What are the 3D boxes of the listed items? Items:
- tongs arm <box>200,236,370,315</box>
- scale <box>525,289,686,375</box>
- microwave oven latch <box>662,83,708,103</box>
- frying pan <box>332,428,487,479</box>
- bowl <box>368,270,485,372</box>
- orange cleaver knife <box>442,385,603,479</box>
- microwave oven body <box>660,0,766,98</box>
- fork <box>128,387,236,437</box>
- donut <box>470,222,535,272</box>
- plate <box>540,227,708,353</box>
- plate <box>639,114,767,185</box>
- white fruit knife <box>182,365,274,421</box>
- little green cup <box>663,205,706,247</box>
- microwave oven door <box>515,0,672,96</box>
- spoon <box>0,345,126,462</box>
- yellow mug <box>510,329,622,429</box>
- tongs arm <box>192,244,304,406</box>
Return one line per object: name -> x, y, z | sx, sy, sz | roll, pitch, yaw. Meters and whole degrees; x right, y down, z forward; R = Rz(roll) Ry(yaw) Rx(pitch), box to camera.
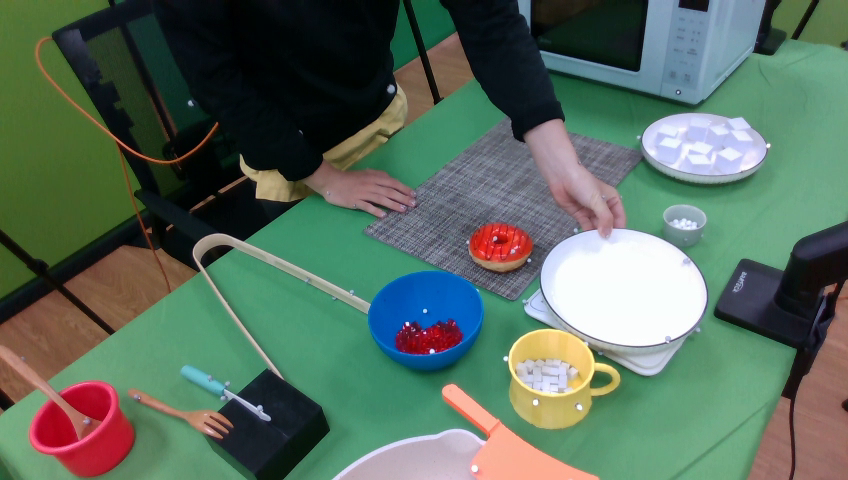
tongs arm -> -0.209, 0.062, 0.924 | 0.381, 0.027, 0.051 | 23, 54, 32
scale -> 0.254, 0.091, 0.821 | 0.199, 0.032, 0.149 | 28, 51, 35
microwave oven latch -> 0.518, -0.296, 1.204 | 0.078, 0.029, 0.030 | 28, 52, 35
frying pan -> -0.089, 0.306, 0.564 | 0.487, 0.103, 0.306 | 10, 41, 7
bowl -> 0.007, 0.118, 0.791 | 0.151, 0.077, 0.150 | -5, 40, 4
orange cleaver knife -> 0.086, 0.219, 0.612 | 0.209, 0.012, 0.077 | 28, 49, 35
microwave oven body -> 0.472, -0.513, 1.317 | 0.438, 0.261, 0.327 | 26, 51, 34
fork -> -0.305, 0.207, 0.744 | 0.206, 0.019, 0.028 | 3, 41, 36
donut -> 0.119, 0.009, 0.923 | 0.099, 0.048, 0.098 | -4, 38, 4
plate -> 0.256, 0.065, 0.787 | 0.209, 0.038, 0.208 | -3, 43, 3
plate -> 0.489, -0.157, 1.074 | 0.207, 0.039, 0.206 | -4, 40, 4
white fruit knife -> -0.245, 0.188, 0.747 | 0.205, 0.027, 0.016 | 9, 40, 41
little green cup -> 0.396, -0.020, 0.926 | 0.061, 0.039, 0.061 | -4, 40, 4
microwave oven door -> 0.343, -0.454, 1.259 | 0.353, 0.245, 0.039 | 26, 51, 33
spoon -> -0.434, 0.192, 0.720 | 0.194, 0.021, 0.042 | 47, 53, -6
yellow mug -> 0.168, 0.165, 0.721 | 0.130, 0.064, 0.099 | 1, 40, 8
tongs arm -> -0.268, 0.112, 0.884 | 0.028, 0.028, 0.384 | -36, 47, -17
